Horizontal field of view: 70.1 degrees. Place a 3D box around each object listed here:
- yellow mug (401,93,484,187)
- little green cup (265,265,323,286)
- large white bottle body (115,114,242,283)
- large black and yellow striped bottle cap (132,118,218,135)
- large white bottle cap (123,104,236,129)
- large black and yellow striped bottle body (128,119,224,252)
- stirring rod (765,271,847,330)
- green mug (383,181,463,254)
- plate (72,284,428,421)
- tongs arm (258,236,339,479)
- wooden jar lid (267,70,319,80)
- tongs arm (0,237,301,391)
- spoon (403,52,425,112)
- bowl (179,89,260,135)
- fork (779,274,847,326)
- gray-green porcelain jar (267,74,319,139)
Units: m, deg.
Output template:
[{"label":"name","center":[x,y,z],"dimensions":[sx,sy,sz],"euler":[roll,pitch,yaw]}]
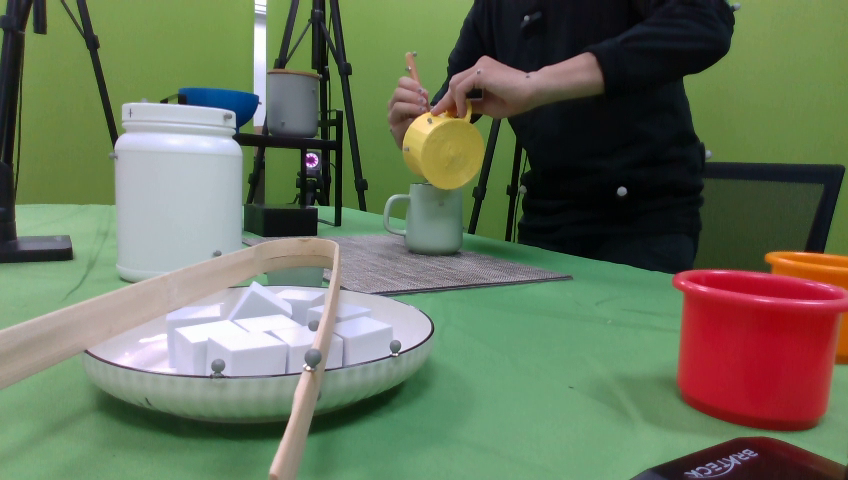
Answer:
[{"label":"yellow mug","center":[0.032,-0.145,0.855],"dimensions":[0.100,0.130,0.063],"euler":[17,13,-31]},{"label":"little green cup","center":[-0.134,0.034,0.628],"dimensions":[0.061,0.038,0.061],"euler":[3,7,0]},{"label":"large white bottle body","center":[-0.270,-0.051,0.673],"dimensions":[0.131,0.184,0.130],"euler":[2,8,0]},{"label":"large black and yellow striped bottle cap","center":[-0.359,-0.164,0.875],"dimensions":[0.115,0.019,0.115],"euler":[2,6,0]},{"label":"large white bottle cap","center":[-0.266,-0.135,0.663],"dimensions":[0.115,0.018,0.115],"euler":[3,7,0]},{"label":"large black and yellow striped bottle body","center":[-0.361,-0.081,0.887],"dimensions":[0.131,0.184,0.130],"euler":[2,8,0]},{"label":"stirring rod","center":[0.352,0.020,0.481],"dimensions":[0.176,0.006,0.014],"euler":[-40,-8,17]},{"label":"green mug","center":[-0.001,-0.035,0.922],"dimensions":[0.126,0.105,0.092],"euler":[0,8,-16]},{"label":"plate","center":[-0.102,0.066,0.380],"dimensions":[0.208,0.039,0.207],"euler":[3,7,0]},{"label":"tongs arm","center":[-0.074,0.040,0.345],"dimensions":[0.051,0.026,0.384],"euler":[-1,9,-3]},{"label":"wooden jar lid","center":[-0.275,-0.340,1.271],"dimensions":[0.108,0.020,0.108],"euler":[5,6,0]},{"label":"tongs arm","center":[-0.157,0.038,0.347],"dimensions":[0.028,0.028,0.388],"euler":[-2,8,11]},{"label":"spoon","center":[-0.005,-0.196,0.883],"dimensions":[0.041,0.193,0.022],"euler":[-16,-23,0]},{"label":"bowl","center":[-0.400,-0.248,1.188],"dimensions":[0.151,0.077,0.151],"euler":[2,7,0]},{"label":"fork","center":[0.332,0.018,0.443],"dimensions":[0.028,0.018,0.207],"euler":[-2,-35,-16]},{"label":"gray-green porcelain jar","center":[-0.277,-0.279,1.280],"dimensions":[0.106,0.126,0.106],"euler":[2,7,0]}]
